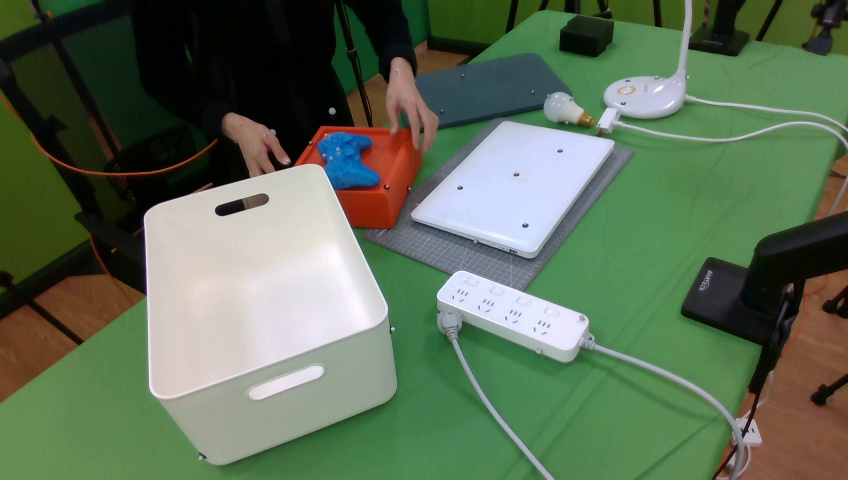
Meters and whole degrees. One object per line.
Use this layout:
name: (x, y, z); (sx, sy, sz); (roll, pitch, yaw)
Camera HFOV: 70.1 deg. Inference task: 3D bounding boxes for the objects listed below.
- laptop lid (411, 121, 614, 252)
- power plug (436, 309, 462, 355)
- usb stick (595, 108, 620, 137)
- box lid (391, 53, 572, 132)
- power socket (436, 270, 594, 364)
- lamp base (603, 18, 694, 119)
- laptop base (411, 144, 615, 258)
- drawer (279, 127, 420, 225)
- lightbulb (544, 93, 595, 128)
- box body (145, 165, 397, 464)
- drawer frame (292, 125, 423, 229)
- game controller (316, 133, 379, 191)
laptop lid: (0.164, -0.112, 1.068); (0.240, 0.013, 0.357); (19, 46, 30)
power plug: (0.032, 0.126, 0.809); (0.035, 0.053, 0.072); (3, 59, 7)
usb stick: (0.355, -0.225, 1.175); (0.027, 0.022, 0.059); (29, 85, 40)
box lid: (0.122, -0.339, 1.366); (0.372, 0.015, 0.261); (-12, 40, -5)
power socket: (0.118, 0.102, 0.830); (0.225, 0.033, 0.072); (20, 48, 28)
lamp base: (0.460, -0.355, 1.205); (0.179, 0.181, 0.160); (2, 41, 7)
laptop base: (0.167, -0.102, 1.074); (0.234, 0.023, 0.355); (16, 45, 30)
drawer: (-0.125, -0.120, 1.088); (0.194, 0.073, 0.211); (5, 42, 13)
lightbulb: (0.293, -0.256, 1.215); (0.107, 0.059, 0.059); (30, 51, 16)
box body: (-0.205, 0.080, 0.802); (0.255, 0.161, 0.361); (-18, 41, -13)
drawer frame: (-0.124, -0.120, 1.086); (0.201, 0.083, 0.213); (4, 41, 14)
game controller: (-0.134, -0.140, 1.032); (0.097, 0.052, 0.154); (-14, 39, -1)
